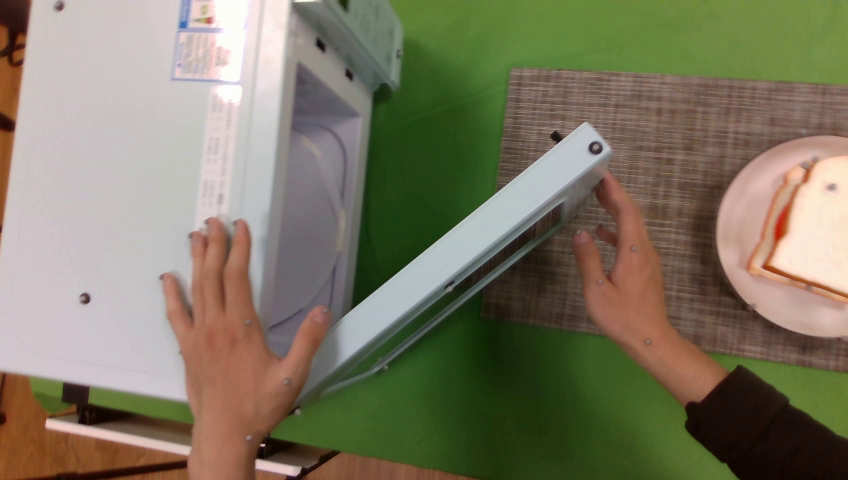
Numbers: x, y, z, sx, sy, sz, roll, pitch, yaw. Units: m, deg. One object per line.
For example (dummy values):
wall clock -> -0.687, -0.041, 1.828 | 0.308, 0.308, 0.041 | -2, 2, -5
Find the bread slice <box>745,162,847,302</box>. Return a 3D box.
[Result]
bread slice -> 0.403, -0.013, 0.627 | 0.106, 0.018, 0.134 | 16, 89, 12

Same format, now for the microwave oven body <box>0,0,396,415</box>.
microwave oven body -> -0.227, -0.072, 0.657 | 0.325, 0.261, 0.441 | 5, 88, 12

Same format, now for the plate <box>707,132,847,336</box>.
plate -> 0.402, -0.006, 0.628 | 0.207, 0.039, 0.207 | -1, 86, 12

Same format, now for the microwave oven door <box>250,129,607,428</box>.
microwave oven door -> 0.021, 0.043, 0.590 | 0.356, 0.245, 0.039 | -40, 78, 7

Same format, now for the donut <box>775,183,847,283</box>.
donut -> 0.398, -0.006, 0.596 | 0.099, 0.048, 0.099 | 0, 93, 5

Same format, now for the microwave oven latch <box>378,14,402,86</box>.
microwave oven latch -> -0.044, -0.227, 0.727 | 0.030, 0.029, 0.079 | 6, 88, 12

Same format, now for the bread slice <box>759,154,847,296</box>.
bread slice -> 0.393, -0.017, 0.572 | 0.104, 0.019, 0.131 | 20, 89, 19
